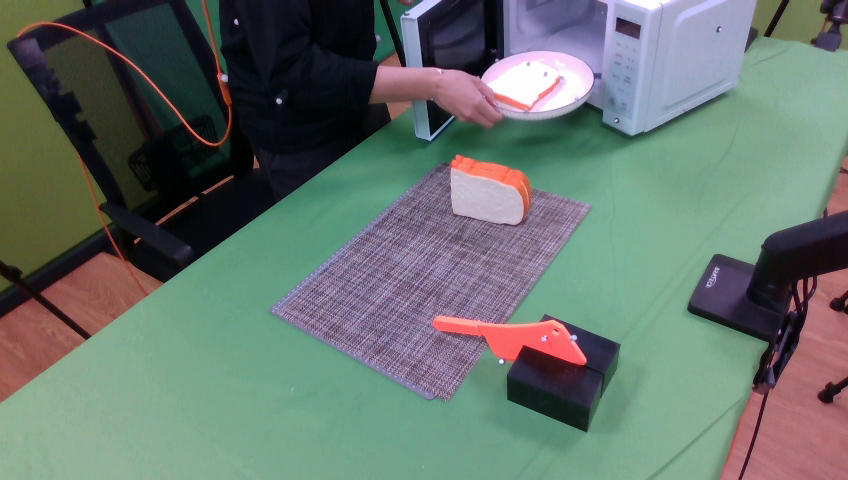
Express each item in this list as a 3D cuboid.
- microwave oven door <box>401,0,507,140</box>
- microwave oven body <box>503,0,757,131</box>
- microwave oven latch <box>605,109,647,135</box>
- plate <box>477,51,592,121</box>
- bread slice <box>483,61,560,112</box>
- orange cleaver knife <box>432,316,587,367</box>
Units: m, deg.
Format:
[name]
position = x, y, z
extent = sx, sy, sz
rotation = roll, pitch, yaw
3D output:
[microwave oven door]
position = 0.074, -0.397, 1.226
extent = 0.039, 0.245, 0.356
rotation = 17, 46, 26
[microwave oven body]
position = 0.396, -0.448, 1.248
extent = 0.327, 0.261, 0.437
rotation = -27, 44, -21
[microwave oven latch]
position = 0.379, -0.225, 1.139
extent = 0.030, 0.029, 0.078
rotation = -26, 43, -20
[plate]
position = 0.203, -0.279, 1.118
extent = 0.207, 0.039, 0.206
rotation = -5, 46, 6
[bread slice]
position = 0.188, -0.292, 1.132
extent = 0.106, 0.018, 0.134
rotation = 27, 57, 28
[orange cleaver knife]
position = 0.101, 0.127, 0.761
extent = 0.210, 0.077, 0.012
rotation = -1, 34, 40
